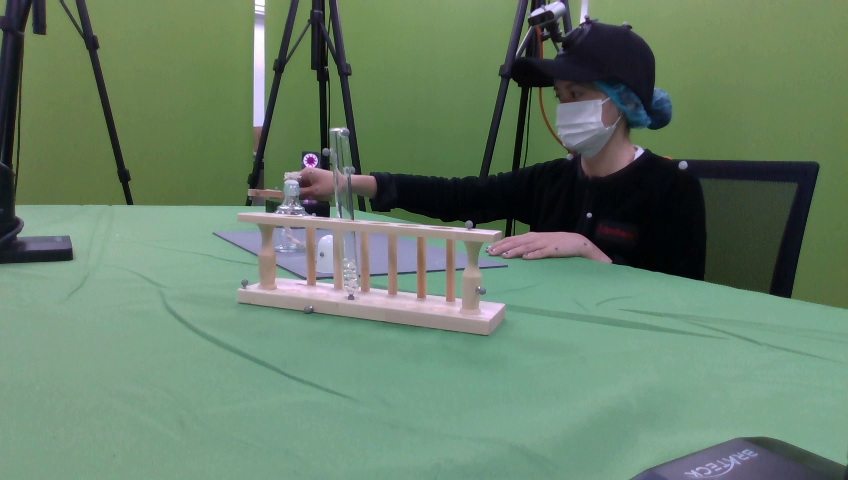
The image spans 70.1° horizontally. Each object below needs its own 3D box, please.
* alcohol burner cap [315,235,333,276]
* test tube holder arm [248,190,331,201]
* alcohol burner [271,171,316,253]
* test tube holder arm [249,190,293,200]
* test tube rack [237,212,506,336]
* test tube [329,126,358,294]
[{"bbox_3d":[-0.116,0.018,0.728,0.034,0.048,0.034,3,6,0],"label":"alcohol burner cap"},{"bbox_3d":[-0.269,-0.089,1.223,0.179,0.015,0.013,0,17,-41],"label":"test tube holder arm"},{"bbox_3d":[-0.196,-0.041,0.884,0.078,0.119,0.078,3,5,0],"label":"alcohol burner"},{"bbox_3d":[-0.300,-0.088,1.190,0.088,0.015,0.010,1,17,-40],"label":"test tube holder arm"},{"bbox_3d":[-0.049,0.024,0.552,0.242,0.085,0.067,5,8,18],"label":"test tube rack"},{"bbox_3d":[-0.071,-0.025,0.534,0.017,0.150,0.017,-3,10,1],"label":"test tube"}]
